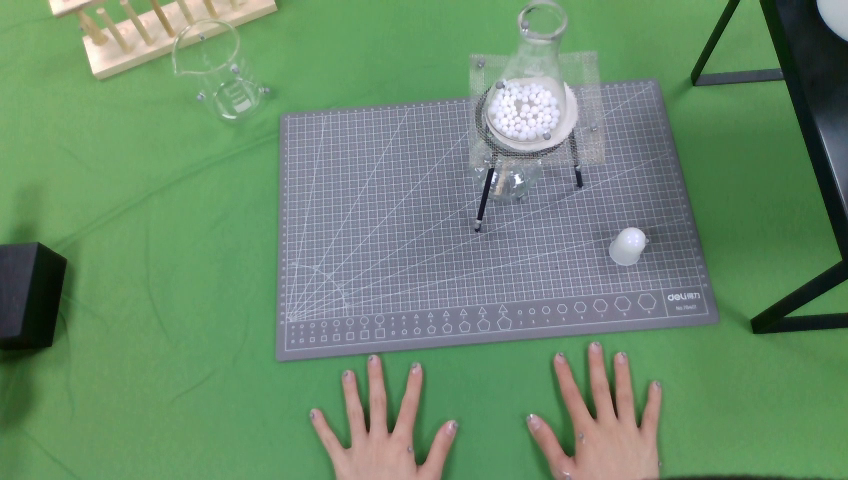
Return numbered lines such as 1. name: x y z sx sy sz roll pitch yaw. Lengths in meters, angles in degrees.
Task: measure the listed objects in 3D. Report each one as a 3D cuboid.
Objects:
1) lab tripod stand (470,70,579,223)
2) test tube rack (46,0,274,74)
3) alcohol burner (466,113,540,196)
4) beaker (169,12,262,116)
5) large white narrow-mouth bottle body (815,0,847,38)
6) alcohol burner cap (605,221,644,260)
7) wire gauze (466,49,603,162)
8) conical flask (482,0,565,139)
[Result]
1. lab tripod stand: 0.096 -0.098 0.617 0.148 0.132 0.147 -1 67 2
2. test tube rack: -0.319 -0.299 0.746 0.242 0.086 0.066 -24 69 -6
3. alcohol burner: 0.083 -0.095 0.627 0.078 0.120 0.077 0 68 1
4. beaker: -0.236 -0.194 0.694 0.073 0.101 0.084 40 76 17
5. large white narrow-mouth bottle body: 0.380 -0.240 0.435 0.102 0.196 0.101 -1 67 2
6. alcohol burner cap: 0.208 -0.002 0.623 0.034 0.048 0.033 -1 69 3
7. wire gauze: 0.099 -0.126 0.557 0.121 0.011 0.124 1 67 1
8. conical flask: 0.088 -0.144 0.501 0.075 0.123 0.075 -1 68 3
